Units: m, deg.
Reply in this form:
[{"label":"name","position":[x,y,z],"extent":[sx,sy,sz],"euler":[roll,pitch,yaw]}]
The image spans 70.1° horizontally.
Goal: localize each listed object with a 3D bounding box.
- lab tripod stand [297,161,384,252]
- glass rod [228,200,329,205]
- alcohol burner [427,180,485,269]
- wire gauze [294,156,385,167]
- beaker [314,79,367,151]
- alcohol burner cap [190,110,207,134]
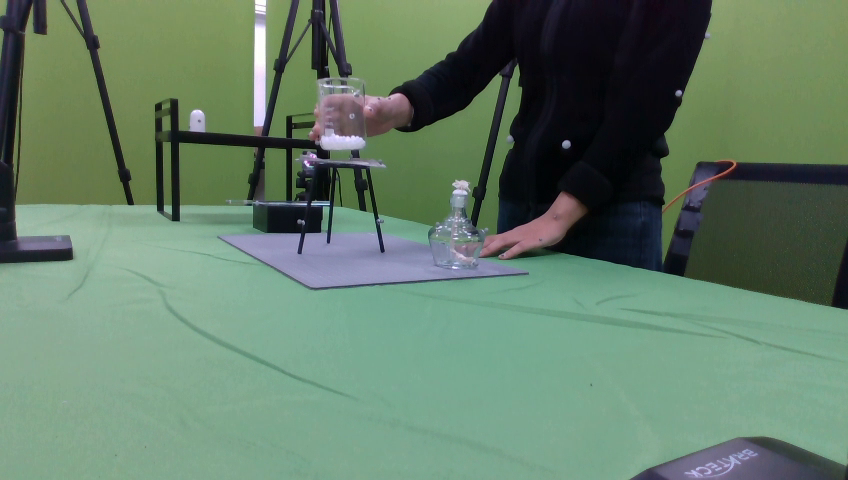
[{"label":"lab tripod stand","position":[-0.130,-0.051,0.903],"extent":[0.148,0.131,0.148],"euler":[4,9,0]},{"label":"glass rod","position":[-0.268,-0.071,1.148],"extent":[0.201,0.008,0.008],"euler":[-1,8,-28]},{"label":"alcohol burner","position":[0.044,-0.021,0.807],"extent":[0.078,0.119,0.078],"euler":[4,6,0]},{"label":"wire gauze","position":[-0.128,-0.118,0.901],"extent":[0.125,0.011,0.121],"euler":[0,8,-14]},{"label":"beaker","position":[-0.121,-0.184,0.901],"extent":[0.073,0.100,0.084],"euler":[3,8,30]},{"label":"alcohol burner cap","position":[-0.463,-0.242,1.240],"extent":[0.034,0.048,0.034],"euler":[2,7,0]}]
